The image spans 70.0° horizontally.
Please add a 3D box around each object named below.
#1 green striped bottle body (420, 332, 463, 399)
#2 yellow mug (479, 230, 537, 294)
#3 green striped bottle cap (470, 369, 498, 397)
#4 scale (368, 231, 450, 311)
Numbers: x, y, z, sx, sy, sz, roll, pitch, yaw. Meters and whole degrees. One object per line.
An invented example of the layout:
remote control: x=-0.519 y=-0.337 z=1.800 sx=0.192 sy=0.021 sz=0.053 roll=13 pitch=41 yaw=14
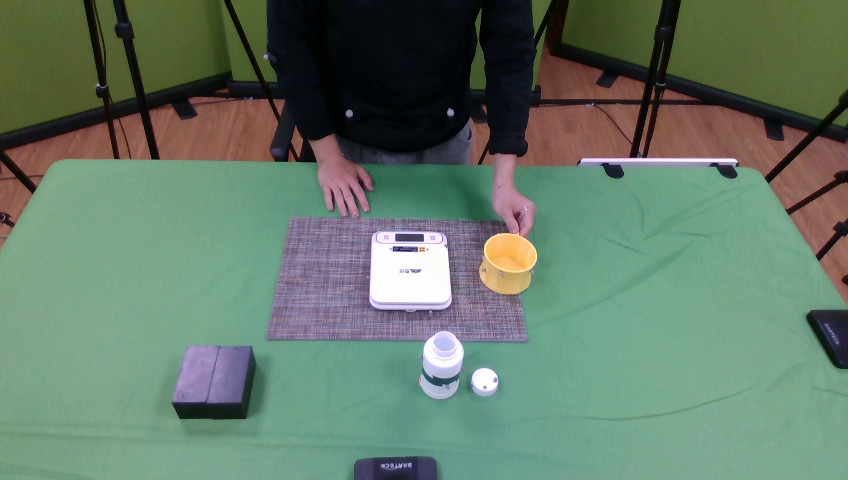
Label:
green striped bottle body: x=0.027 y=0.193 z=0.947 sx=0.063 sy=0.120 sz=0.063 roll=2 pitch=47 yaw=-2
yellow mug: x=0.161 y=0.032 z=1.143 sx=0.100 sy=0.064 sz=0.130 roll=15 pitch=46 yaw=9
green striped bottle cap: x=0.098 y=0.232 z=0.989 sx=0.044 sy=0.020 sz=0.044 roll=2 pitch=41 yaw=-1
scale: x=-0.029 y=0.049 z=1.137 sx=0.149 sy=0.032 sz=0.199 roll=1 pitch=46 yaw=-4
